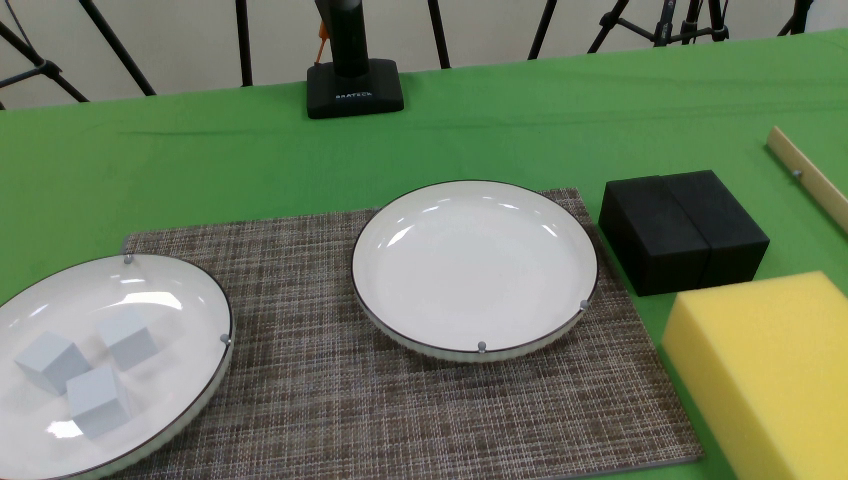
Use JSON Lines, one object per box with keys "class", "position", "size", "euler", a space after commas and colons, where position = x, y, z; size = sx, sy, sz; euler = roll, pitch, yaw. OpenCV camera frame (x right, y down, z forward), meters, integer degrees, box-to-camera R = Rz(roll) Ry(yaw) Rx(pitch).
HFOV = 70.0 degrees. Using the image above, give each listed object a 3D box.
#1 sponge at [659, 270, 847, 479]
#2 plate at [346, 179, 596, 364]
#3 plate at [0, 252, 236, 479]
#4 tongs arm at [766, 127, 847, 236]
{"class": "sponge", "position": [0.261, 0.119, 0.399], "size": [0.118, 0.061, 0.204], "euler": [-9, 44, -6]}
{"class": "plate", "position": [0.039, 0.025, 0.521], "size": [0.208, 0.039, 0.205], "euler": [-1, 43, 1]}
{"class": "plate", "position": [-0.247, 0.093, 0.461], "size": [0.209, 0.038, 0.207], "euler": [-1, 43, 1]}
{"class": "tongs arm", "position": [0.412, 0.012, 0.531], "size": [0.028, 0.028, 0.383], "euler": [-6, 43, -5]}
